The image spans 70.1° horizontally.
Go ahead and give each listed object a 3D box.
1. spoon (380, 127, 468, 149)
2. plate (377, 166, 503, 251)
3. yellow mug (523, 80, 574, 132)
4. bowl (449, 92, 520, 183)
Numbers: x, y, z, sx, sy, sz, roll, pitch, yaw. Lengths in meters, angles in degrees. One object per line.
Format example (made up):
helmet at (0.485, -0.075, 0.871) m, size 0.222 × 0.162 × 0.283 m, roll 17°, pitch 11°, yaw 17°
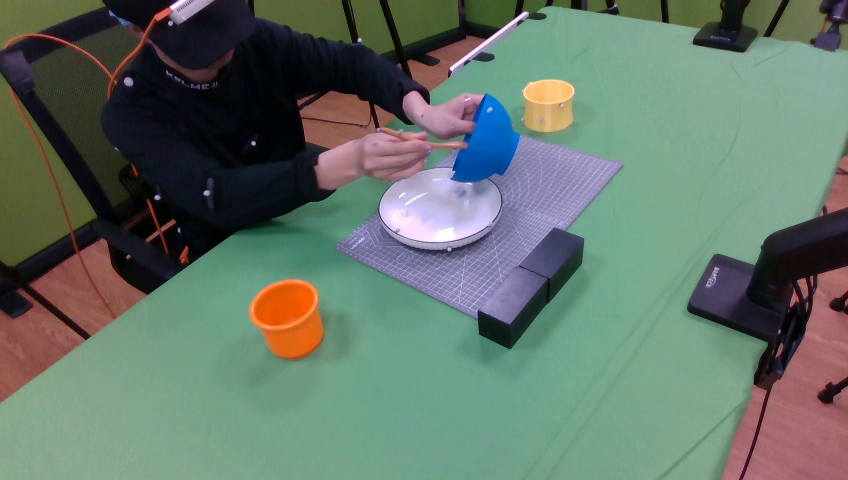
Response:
spoon at (0.016, -0.147, 0.916) m, size 0.195 × 0.021 × 0.041 m, roll 3°, pitch 17°, yaw -38°
plate at (0.027, -0.050, 1.007) m, size 0.209 × 0.038 × 0.208 m, roll -4°, pitch 41°, yaw 4°
yellow mug at (0.242, -0.278, 1.224) m, size 0.100 × 0.064 × 0.129 m, roll -24°, pitch 42°, yaw -18°
bowl at (0.104, -0.152, 0.976) m, size 0.077 × 0.151 × 0.151 m, roll 21°, pitch 43°, yaw -4°
